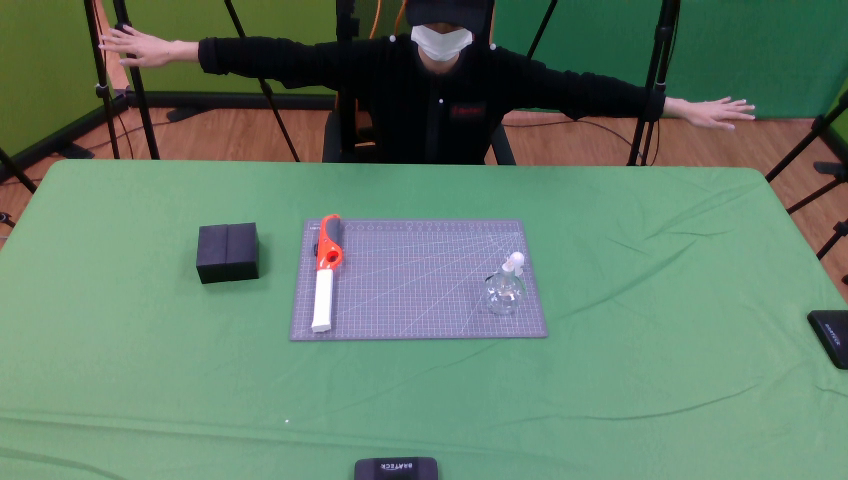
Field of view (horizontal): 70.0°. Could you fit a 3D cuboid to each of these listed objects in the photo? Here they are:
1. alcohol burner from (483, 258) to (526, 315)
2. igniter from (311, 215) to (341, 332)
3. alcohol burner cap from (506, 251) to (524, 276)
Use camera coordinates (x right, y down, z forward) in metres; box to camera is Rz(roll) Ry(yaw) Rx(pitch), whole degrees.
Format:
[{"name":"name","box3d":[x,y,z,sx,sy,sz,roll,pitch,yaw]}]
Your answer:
[{"name":"alcohol burner","box3d":[0.143,0.076,1.067,0.078,0.120,0.077,1,45,-1]},{"name":"igniter","box3d":[-0.183,0.052,1.124,0.057,0.025,0.274,-7,46,3]},{"name":"alcohol burner cap","box3d":[0.175,0.043,1.151,0.034,0.048,0.033,2,46,-1]}]
